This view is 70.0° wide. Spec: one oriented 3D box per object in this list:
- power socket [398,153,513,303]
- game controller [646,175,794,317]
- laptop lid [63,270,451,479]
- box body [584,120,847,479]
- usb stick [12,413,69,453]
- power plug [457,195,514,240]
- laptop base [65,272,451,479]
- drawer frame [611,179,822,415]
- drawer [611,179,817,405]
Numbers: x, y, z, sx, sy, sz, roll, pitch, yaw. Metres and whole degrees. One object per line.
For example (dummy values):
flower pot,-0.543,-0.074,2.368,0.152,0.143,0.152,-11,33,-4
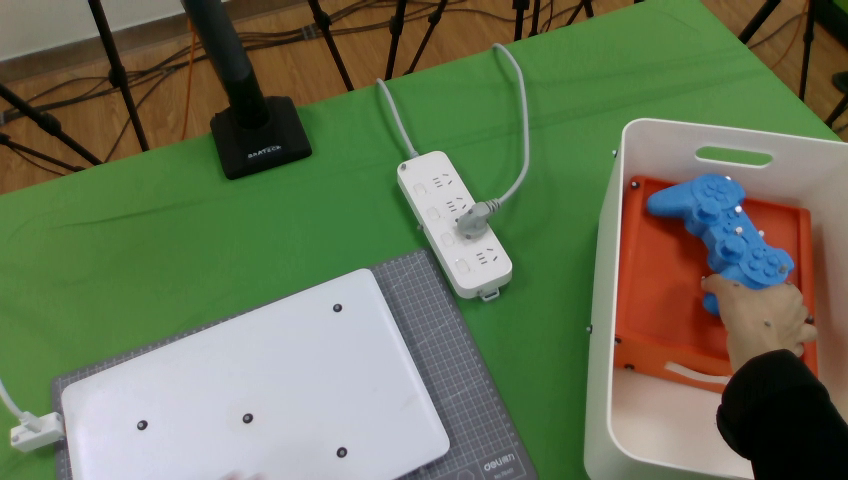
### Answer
power socket,0.036,-0.022,0.753,0.072,0.033,0.224,-21,59,-12
game controller,0.310,-0.003,0.632,0.097,0.052,0.153,-13,58,-8
laptop lid,-0.176,0.185,0.623,0.357,0.013,0.239,-20,61,-11
box body,0.302,0.077,0.603,0.254,0.162,0.361,9,58,7
usb stick,-0.385,0.196,0.622,0.059,0.027,0.021,-18,53,-13
power plug,0.075,-0.020,0.724,0.072,0.053,0.035,-11,56,-7
laptop base,-0.177,0.190,0.634,0.355,0.023,0.233,-22,63,-12
drawer frame,0.301,0.053,0.657,0.201,0.083,0.212,14,54,9
drawer,0.307,0.051,0.656,0.194,0.074,0.210,13,61,11
